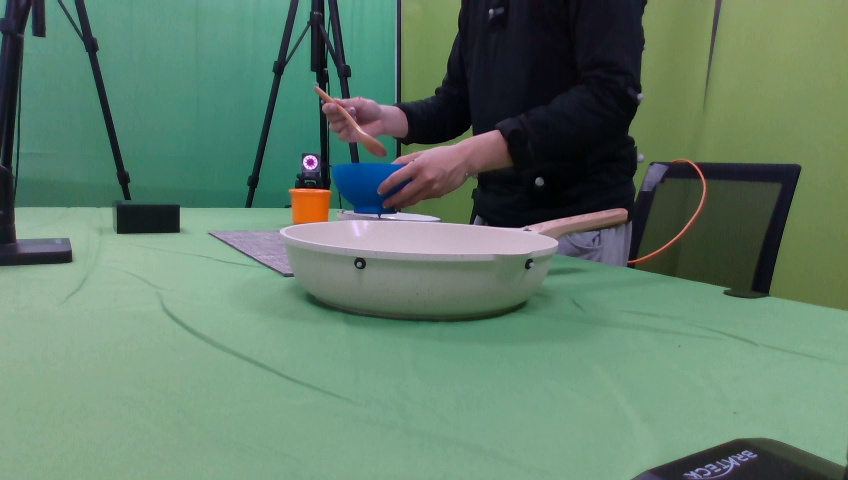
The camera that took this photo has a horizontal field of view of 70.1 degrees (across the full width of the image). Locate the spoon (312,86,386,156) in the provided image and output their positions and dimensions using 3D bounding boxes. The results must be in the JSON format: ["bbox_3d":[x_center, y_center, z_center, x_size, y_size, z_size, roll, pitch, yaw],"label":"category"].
[{"bbox_3d":[-0.133,-0.210,1.053,0.022,0.193,0.041,-34,-23,-20],"label":"spoon"}]

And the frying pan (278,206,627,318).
[{"bbox_3d":[0.079,0.002,0.705,0.490,0.102,0.305,-12,15,-33],"label":"frying pan"}]

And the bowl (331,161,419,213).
[{"bbox_3d":[-0.083,-0.086,1.025,0.151,0.076,0.151,1,0,0],"label":"bowl"}]

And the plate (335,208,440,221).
[{"bbox_3d":[-0.073,-0.035,1.196,0.208,0.039,0.207,4,6,0],"label":"plate"}]
